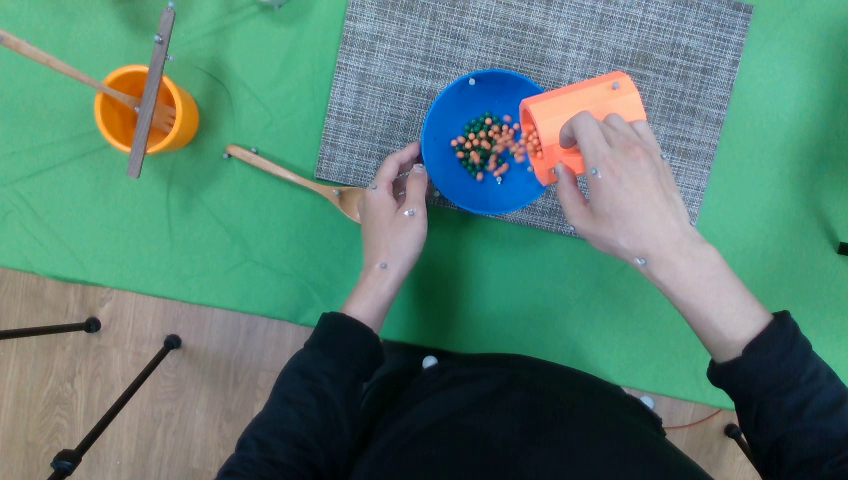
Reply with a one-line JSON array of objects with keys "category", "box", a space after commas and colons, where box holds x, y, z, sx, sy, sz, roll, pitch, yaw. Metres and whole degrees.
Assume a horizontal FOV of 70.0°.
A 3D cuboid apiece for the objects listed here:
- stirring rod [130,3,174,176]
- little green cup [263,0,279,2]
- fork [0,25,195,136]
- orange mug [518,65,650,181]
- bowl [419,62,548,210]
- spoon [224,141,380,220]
[{"category": "stirring rod", "box": [-0.278, -0.152, 0.618, 0.014, 0.006, 0.176, 14, 97, -1]}, {"category": "little green cup", "box": [-0.172, -0.291, 0.660, 0.061, 0.038, 0.061, 0, 97, 0]}, {"category": "fork", "box": [-0.332, -0.161, 0.618, 0.209, 0.018, 0.028, 27, 100, -47]}, {"category": "orange mug", "box": [0.150, -0.103, 0.566, 0.101, 0.125, 0.084, -15, 118, 4]}, {"category": "bowl", "box": [0.069, -0.110, 0.664, 0.151, 0.076, 0.151, 0, 98, 0]}, {"category": "spoon", "box": [-0.140, -0.074, 0.696, 0.194, 0.021, 0.042, 23, 110, -4]}]
